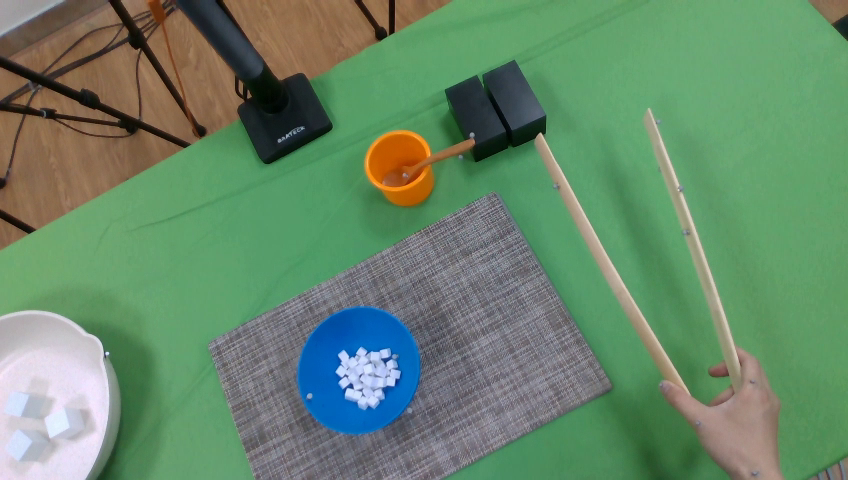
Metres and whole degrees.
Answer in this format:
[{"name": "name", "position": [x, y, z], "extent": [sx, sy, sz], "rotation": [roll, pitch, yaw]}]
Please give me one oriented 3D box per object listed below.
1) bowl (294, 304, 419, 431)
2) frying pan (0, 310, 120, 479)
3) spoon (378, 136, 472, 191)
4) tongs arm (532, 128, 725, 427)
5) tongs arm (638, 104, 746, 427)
[{"name": "bowl", "position": [-0.074, 0.160, 0.750], "extent": [0.151, 0.077, 0.150], "rotation": [-3, 71, 9]}, {"name": "frying pan", "position": [-0.475, 0.308, 0.761], "extent": [0.307, 0.104, 0.483], "rotation": [-41, 62, -4]}, {"name": "spoon", "position": [-0.003, -0.101, 0.791], "extent": [0.022, 0.193, 0.041], "rotation": [21, 68, -28]}, {"name": "tongs arm", "position": [0.215, 0.031, 0.682], "extent": [0.028, 0.028, 0.384], "rotation": [-20, 71, -16]}, {"name": "tongs arm", "position": [0.291, 0.013, 0.693], "extent": [0.051, 0.027, 0.382], "rotation": [-9, 69, -8]}]
